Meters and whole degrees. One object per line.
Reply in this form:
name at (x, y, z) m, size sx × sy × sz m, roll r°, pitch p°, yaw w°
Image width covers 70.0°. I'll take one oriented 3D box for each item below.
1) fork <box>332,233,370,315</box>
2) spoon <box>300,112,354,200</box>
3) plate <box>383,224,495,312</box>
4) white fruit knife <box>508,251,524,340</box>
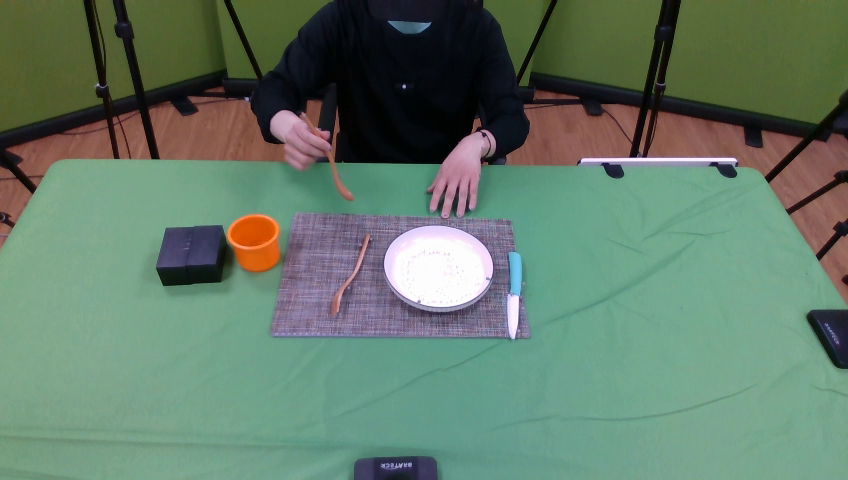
fork at (-0.133, 0.058, 1.126) m, size 0.019 × 0.028 × 0.206 m, roll 35°, pitch 43°, yaw -13°
spoon at (-0.176, -0.151, 1.110) m, size 0.021 × 0.195 × 0.041 m, roll -20°, pitch 32°, yaw 5°
plate at (0.026, 0.055, 1.128) m, size 0.209 × 0.038 × 0.208 m, roll 2°, pitch 46°, yaw -2°
white fruit knife at (0.169, 0.098, 1.113) m, size 0.027 × 0.016 × 0.206 m, roll -13°, pitch 43°, yaw 23°
